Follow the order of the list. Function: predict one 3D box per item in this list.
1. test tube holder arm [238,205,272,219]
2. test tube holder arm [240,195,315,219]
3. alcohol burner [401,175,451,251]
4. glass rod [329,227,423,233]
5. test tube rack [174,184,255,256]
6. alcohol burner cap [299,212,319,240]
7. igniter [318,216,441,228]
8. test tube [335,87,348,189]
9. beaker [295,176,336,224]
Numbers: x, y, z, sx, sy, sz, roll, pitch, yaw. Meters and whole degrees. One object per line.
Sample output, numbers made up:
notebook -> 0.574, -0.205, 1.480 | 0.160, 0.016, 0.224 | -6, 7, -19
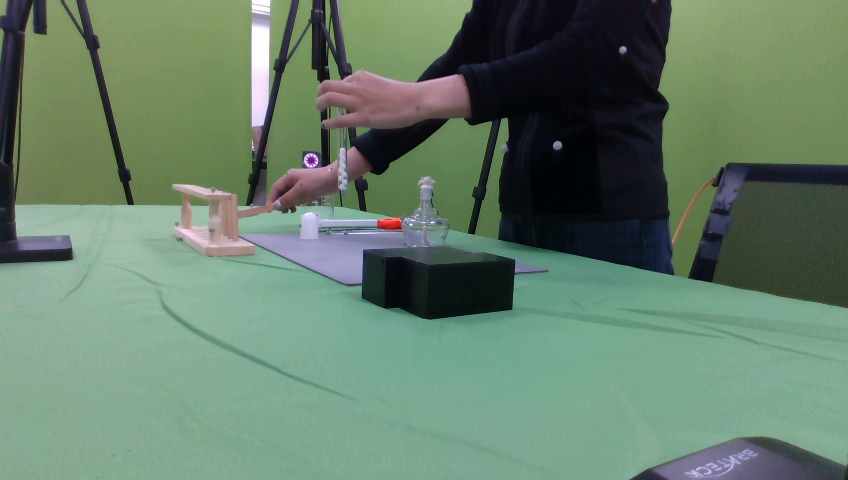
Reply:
test tube holder arm -> -0.320, -0.048, 1.101 | 0.088, 0.015, 0.010 | -18, 13, -33
test tube holder arm -> -0.287, -0.060, 1.131 | 0.179, 0.015, 0.013 | -18, 13, -33
alcohol burner -> 0.003, -0.042, 0.947 | 0.078, 0.119, 0.078 | 1, 9, 0
glass rod -> -0.087, -0.019, 1.148 | 0.201, 0.008, 0.008 | -3, 8, -32
test tube rack -> -0.327, -0.036, 0.928 | 0.067, 0.085, 0.241 | -2, 9, -32
alcohol burner cap -> -0.195, -0.024, 1.025 | 0.034, 0.048, 0.034 | 2, 7, 0
igniter -> -0.090, -0.035, 1.222 | 0.278, 0.025, 0.057 | -2, -1, -31
test tube -> -0.123, -0.151, 0.900 | 0.017, 0.150, 0.017 | 0, 7, 0
beaker -> -0.224, -0.080, 1.247 | 0.084, 0.100, 0.073 | -1, 8, -18
